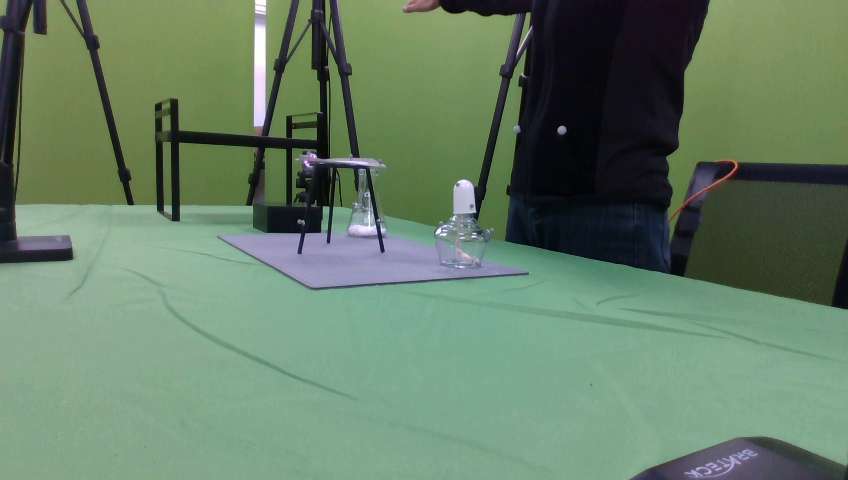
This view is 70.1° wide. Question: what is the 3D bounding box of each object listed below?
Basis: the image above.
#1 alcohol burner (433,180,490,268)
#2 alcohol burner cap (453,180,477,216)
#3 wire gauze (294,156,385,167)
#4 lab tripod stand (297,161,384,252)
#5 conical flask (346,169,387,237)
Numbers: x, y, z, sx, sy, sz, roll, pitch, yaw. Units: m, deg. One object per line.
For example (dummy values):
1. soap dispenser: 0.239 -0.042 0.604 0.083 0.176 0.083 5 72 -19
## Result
1. alcohol burner: 0.052 -0.021 0.816 0.078 0.119 0.078 4 7 0
2. alcohol burner cap: 0.054 -0.057 0.811 0.034 0.048 0.034 -3 6 1
3. wire gauze: -0.128 -0.118 0.901 0.125 0.011 0.121 0 8 -14
4. lab tripod stand: -0.130 -0.051 0.903 0.148 0.131 0.148 3 9 0
5. conical flask: -0.103 -0.068 1.091 0.075 0.122 0.075 2 7 0
